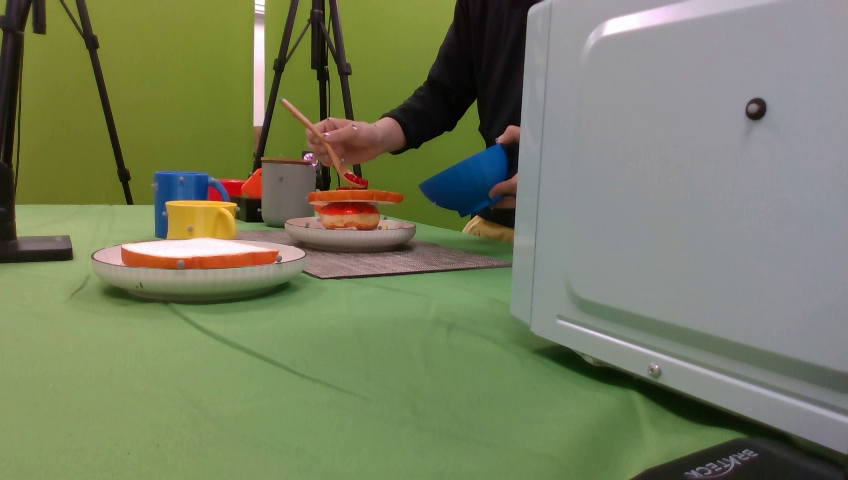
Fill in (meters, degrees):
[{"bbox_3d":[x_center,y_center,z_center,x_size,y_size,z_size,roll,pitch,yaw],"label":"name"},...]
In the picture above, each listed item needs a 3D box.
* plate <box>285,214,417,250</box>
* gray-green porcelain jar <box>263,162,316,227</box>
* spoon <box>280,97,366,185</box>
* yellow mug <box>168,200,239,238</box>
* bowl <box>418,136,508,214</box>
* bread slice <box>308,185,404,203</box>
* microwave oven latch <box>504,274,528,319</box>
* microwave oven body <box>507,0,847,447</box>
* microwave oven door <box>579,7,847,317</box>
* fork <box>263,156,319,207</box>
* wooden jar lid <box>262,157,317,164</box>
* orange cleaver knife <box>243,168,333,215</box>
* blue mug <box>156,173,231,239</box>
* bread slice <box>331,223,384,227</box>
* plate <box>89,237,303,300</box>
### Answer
[{"bbox_3d":[-0.116,-0.014,0.964,0.209,0.038,0.209,2,7,0],"label":"plate"},{"bbox_3d":[-0.271,-0.092,1.217,0.106,0.126,0.106,2,7,0],"label":"gray-green porcelain jar"},{"bbox_3d":[-0.160,-0.156,0.955,0.021,0.193,0.042,-41,-3,23],"label":"spoon"},{"bbox_3d":[-0.320,-0.023,0.904,0.130,0.064,0.100,9,11,36],"label":"yellow mug"},{"bbox_3d":[0.074,-0.092,0.940,0.151,0.077,0.151,-28,2,1],"label":"bowl"},{"bbox_3d":[-0.114,-0.071,0.954,0.134,0.018,0.107,-2,-1,21],"label":"bread slice"},{"bbox_3d":[0.100,0.041,0.471,0.079,0.029,0.030,-1,7,-28],"label":"microwave oven latch"},{"bbox_3d":[0.331,-0.042,0.425,0.444,0.260,0.324,-2,8,-31],"label":"microwave oven body"},{"bbox_3d":[0.295,-0.067,0.570,0.358,0.243,0.039,-3,9,-31],"label":"microwave oven door"},{"bbox_3d":[-0.331,-0.144,1.505,0.207,0.018,0.028,-42,-21,22],"label":"fork"},{"bbox_3d":[-0.269,-0.154,1.208,0.108,0.020,0.108,3,4,0],"label":"wooden jar lid"},{"bbox_3d":[-0.300,-0.089,1.351,0.212,0.077,0.012,28,-9,-34],"label":"orange cleaver knife"},{"bbox_3d":[-0.381,-0.057,1.004,0.117,0.106,0.082,1,8,-12],"label":"blue mug"},{"bbox_3d":[-0.104,-0.011,0.961,0.131,0.019,0.105,5,9,24],"label":"bread slice"},{"bbox_3d":[-0.233,0.029,0.637,0.208,0.039,0.207,2,8,0],"label":"plate"}]
